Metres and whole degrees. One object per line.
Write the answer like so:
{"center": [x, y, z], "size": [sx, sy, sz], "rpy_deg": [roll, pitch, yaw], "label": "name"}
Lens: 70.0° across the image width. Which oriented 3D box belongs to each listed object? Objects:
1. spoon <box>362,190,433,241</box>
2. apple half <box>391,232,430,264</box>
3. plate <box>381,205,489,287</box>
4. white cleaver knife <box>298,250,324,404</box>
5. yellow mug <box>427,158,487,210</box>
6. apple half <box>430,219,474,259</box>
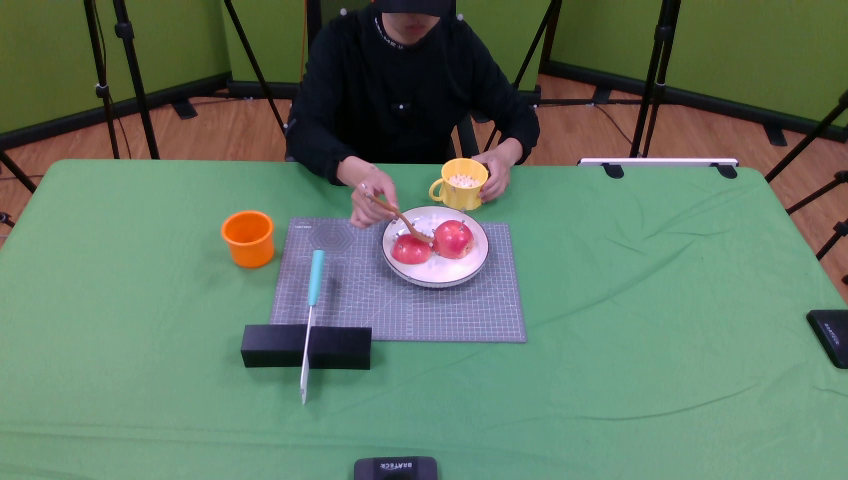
{"center": [-0.045, -0.043, 1.084], "size": [0.021, 0.195, 0.041], "rpy_deg": [-52, 43, -1], "label": "spoon"}
{"center": [-0.024, 0.009, 1.163], "size": [0.081, 0.033, 0.081], "rpy_deg": [2, 44, -2], "label": "apple half"}
{"center": [0.021, 0.015, 1.170], "size": [0.209, 0.038, 0.208], "rpy_deg": [2, 46, -2], "label": "plate"}
{"center": [-0.194, 0.134, 1.019], "size": [0.021, 0.066, 0.284], "rpy_deg": [5, 50, -5], "label": "white cleaver knife"}
{"center": [0.067, -0.116, 1.284], "size": [0.131, 0.064, 0.099], "rpy_deg": [-17, 49, -17], "label": "yellow mug"}
{"center": [0.056, -0.008, 1.172], "size": [0.081, 0.053, 0.074], "rpy_deg": [-33, 59, -31], "label": "apple half"}
